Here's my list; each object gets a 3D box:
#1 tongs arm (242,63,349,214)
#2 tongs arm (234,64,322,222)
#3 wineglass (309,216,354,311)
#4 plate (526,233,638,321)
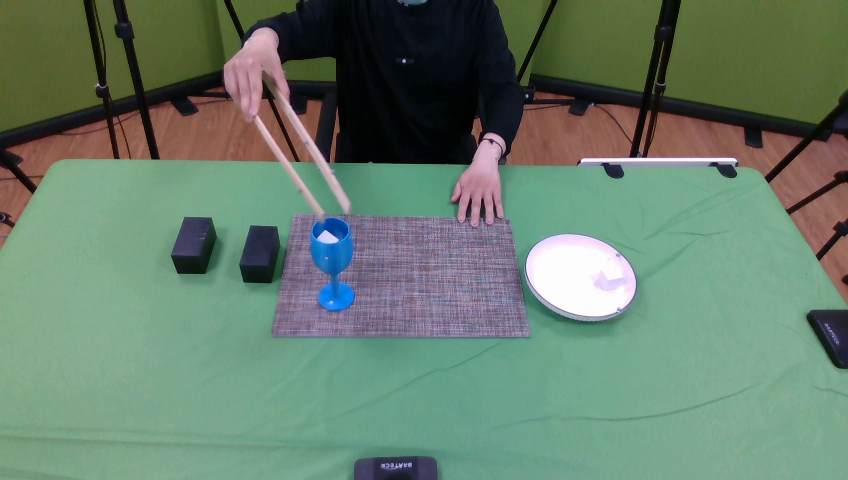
[{"bbox_3d":[-0.229,-0.183,1.041,0.051,0.026,0.382,-18,58,-23],"label":"tongs arm"},{"bbox_3d":[-0.253,-0.174,1.029,0.028,0.028,0.385,-23,60,-21],"label":"tongs arm"},{"bbox_3d":[-0.155,0.043,1.032,0.074,0.173,0.073,2,46,-2],"label":"wineglass"},{"bbox_3d":[0.292,0.071,1.135,0.209,0.038,0.208,2,46,-2],"label":"plate"}]
